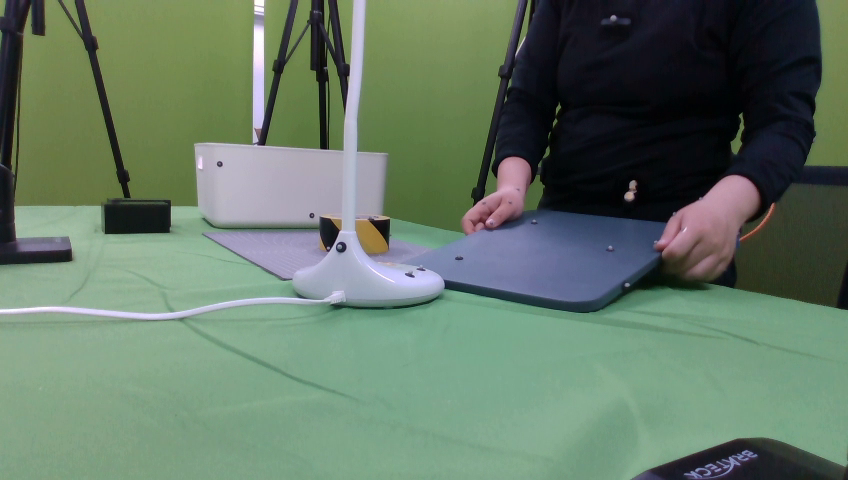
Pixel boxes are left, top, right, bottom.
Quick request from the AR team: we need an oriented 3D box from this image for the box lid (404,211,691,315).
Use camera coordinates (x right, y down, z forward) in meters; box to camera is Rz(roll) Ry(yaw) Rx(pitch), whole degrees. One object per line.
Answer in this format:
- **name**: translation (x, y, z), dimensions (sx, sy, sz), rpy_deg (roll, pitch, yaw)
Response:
- **box lid**: translation (0.167, 0.014, 0.790), dimensions (0.262, 0.015, 0.373), rpy_deg (8, 19, 37)

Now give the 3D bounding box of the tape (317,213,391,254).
- **tape**: translation (-0.109, -0.012, 0.938), dimensions (0.117, 0.052, 0.117), rpy_deg (2, 7, 0)

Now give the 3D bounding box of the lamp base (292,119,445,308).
- **lamp base**: translation (-0.056, -0.030, 0.616), dimensions (0.160, 0.180, 0.179), rpy_deg (3, 10, 8)

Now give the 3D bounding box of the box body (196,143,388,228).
- **box body**: translation (-0.286, -0.118, 1.291), dimensions (0.366, 0.160, 0.253), rpy_deg (-1, 8, -27)
